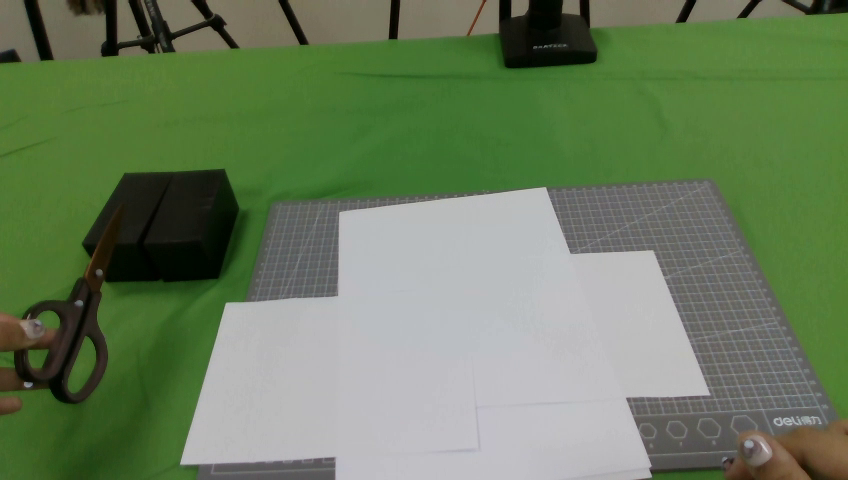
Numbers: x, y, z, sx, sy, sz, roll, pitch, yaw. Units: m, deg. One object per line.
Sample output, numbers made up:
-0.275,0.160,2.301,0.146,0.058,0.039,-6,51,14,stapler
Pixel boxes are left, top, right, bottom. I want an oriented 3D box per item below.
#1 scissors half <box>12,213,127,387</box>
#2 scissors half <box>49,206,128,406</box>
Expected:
-0.255,0.031,0.450,0.013,0.040,0.173,-12,39,12,scissors half
-0.248,0.043,0.465,0.013,0.040,0.173,-16,56,16,scissors half
